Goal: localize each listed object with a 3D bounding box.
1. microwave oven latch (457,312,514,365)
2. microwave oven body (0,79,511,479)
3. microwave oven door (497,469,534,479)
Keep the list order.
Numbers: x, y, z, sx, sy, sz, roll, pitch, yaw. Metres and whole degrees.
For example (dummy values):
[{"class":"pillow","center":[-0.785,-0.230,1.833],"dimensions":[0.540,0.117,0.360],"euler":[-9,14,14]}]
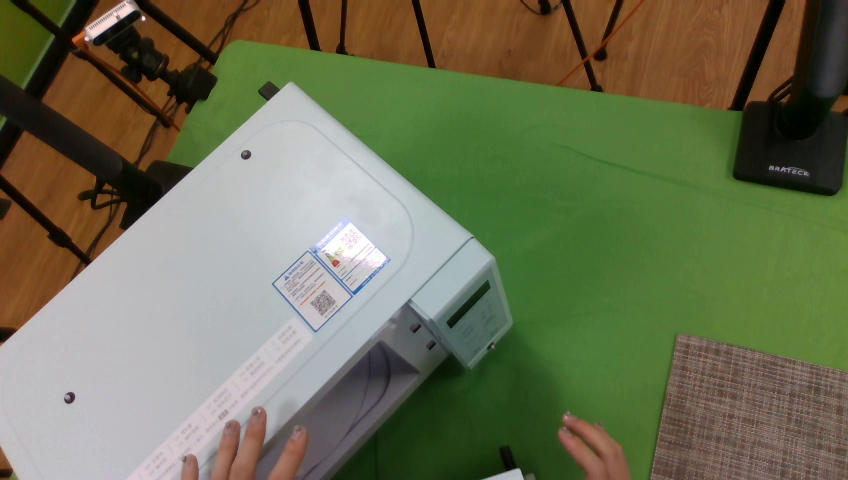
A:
[{"class":"microwave oven latch","center":[0.072,0.111,0.720],"dimensions":[0.079,0.030,0.030],"euler":[-43,67,-6]},{"class":"microwave oven body","center":[-0.174,0.108,0.668],"dimensions":[0.441,0.262,0.323],"euler":[-45,67,-7]},{"class":"microwave oven door","center":[-0.067,0.285,0.567],"dimensions":[0.356,0.246,0.039],"euler":[-20,66,4]}]
